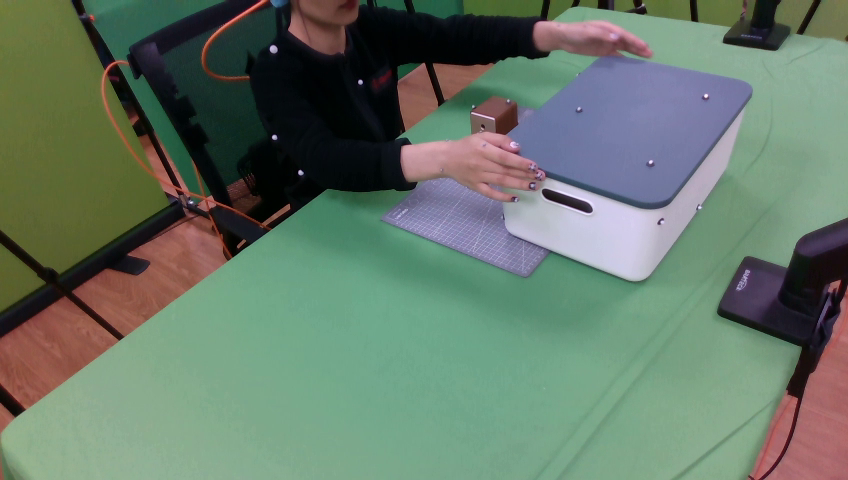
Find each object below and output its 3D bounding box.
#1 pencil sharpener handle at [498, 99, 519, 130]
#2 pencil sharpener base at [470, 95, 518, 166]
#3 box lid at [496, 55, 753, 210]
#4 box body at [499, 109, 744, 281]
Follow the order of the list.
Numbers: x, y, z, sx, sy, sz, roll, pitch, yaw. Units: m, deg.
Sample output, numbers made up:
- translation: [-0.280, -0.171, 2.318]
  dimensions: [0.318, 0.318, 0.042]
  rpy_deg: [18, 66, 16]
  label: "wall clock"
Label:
- translation: [0.165, -0.243, 1.148]
  dimensions: [0.035, 0.068, 0.031]
  rpy_deg: [22, 49, 35]
  label: "pencil sharpener handle"
- translation: [0.134, -0.205, 1.128]
  dimensions: [0.061, 0.107, 0.077]
  rpy_deg: [23, 50, 33]
  label: "pencil sharpener base"
- translation: [0.308, -0.181, 0.911]
  dimensions: [0.261, 0.015, 0.372]
  rpy_deg: [24, 50, 31]
  label: "box lid"
- translation: [0.315, -0.124, 0.958]
  dimensions: [0.252, 0.161, 0.365]
  rpy_deg: [23, 50, 32]
  label: "box body"
